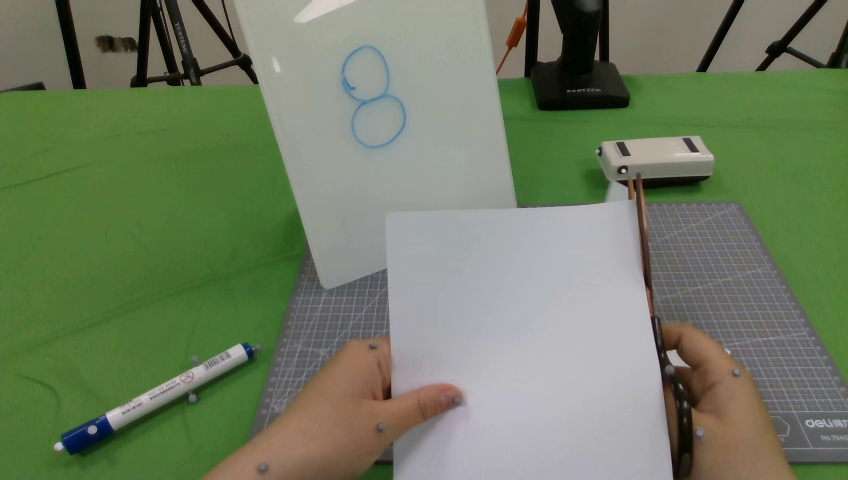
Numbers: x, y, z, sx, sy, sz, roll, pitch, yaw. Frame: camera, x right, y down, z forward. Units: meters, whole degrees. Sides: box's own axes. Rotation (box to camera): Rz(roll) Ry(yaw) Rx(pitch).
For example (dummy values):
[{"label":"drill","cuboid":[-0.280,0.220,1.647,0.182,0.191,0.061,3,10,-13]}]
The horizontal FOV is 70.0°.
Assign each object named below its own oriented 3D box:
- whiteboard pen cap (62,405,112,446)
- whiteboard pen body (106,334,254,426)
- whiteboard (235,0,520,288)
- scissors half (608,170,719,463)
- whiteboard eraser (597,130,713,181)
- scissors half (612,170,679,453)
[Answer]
[{"label":"whiteboard pen cap","cuboid":[-0.245,0.135,0.444,0.033,0.018,0.018,-28,47,-28]},{"label":"whiteboard pen body","cuboid":[-0.198,0.112,0.471,0.141,0.017,0.017,-28,47,-28]},{"label":"whiteboard","cuboid":[-0.054,-0.147,0.594,0.217,0.307,0.142,-20,23,-18]},{"label":"scissors half","cuboid":[0.135,0.040,0.352,0.013,0.040,0.174,-12,75,-12]},{"label":"whiteboard eraser","cuboid":[0.253,-0.093,0.667,0.113,0.042,0.055,-2,43,0]},{"label":"scissors half","cuboid":[0.131,0.043,0.371,0.013,0.175,0.040,-11,2,-17]}]
